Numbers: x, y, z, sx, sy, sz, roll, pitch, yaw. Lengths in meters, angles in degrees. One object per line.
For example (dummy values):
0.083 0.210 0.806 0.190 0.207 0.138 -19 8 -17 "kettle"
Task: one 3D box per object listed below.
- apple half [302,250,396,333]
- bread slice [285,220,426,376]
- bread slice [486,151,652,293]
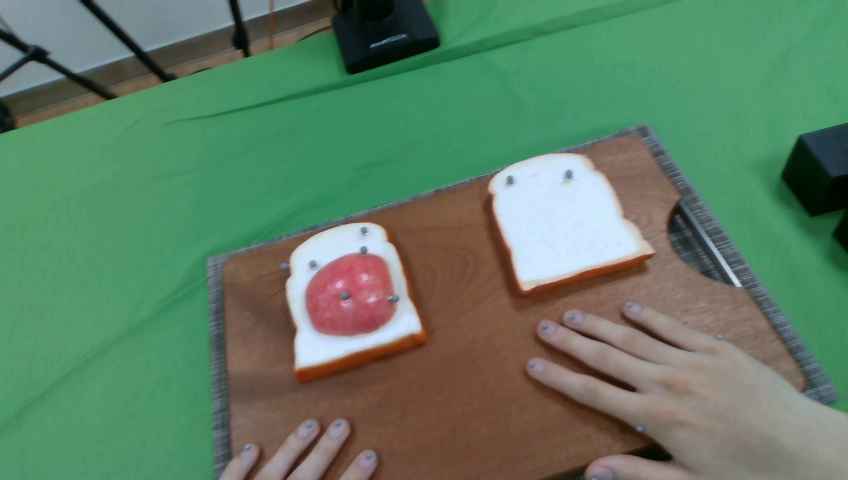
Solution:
-0.062 0.035 0.474 0.081 0.033 0.080 -4 53 6 "apple half"
-0.066 0.040 0.501 0.105 0.019 0.130 -17 54 -3 "bread slice"
0.109 -0.021 0.510 0.107 0.018 0.133 -19 52 -3 "bread slice"
